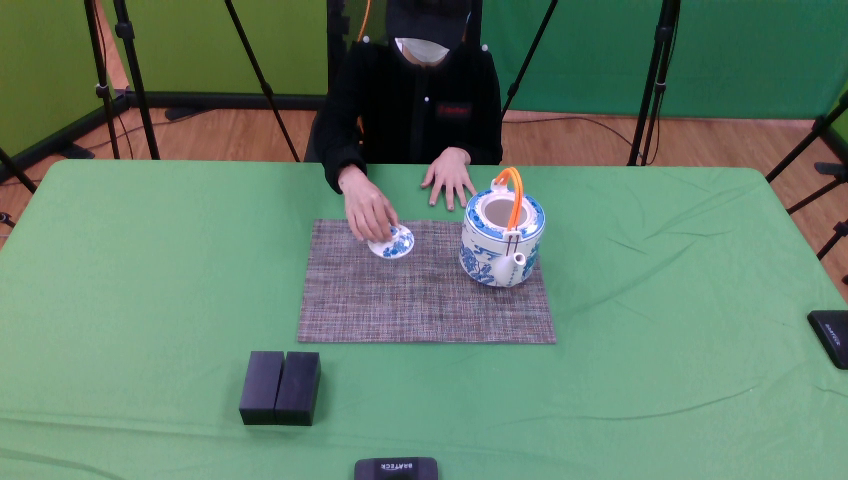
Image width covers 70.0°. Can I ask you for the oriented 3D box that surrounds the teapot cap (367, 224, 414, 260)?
[{"bbox_3d":[-0.061,-0.001,1.097,0.085,0.044,0.084,4,50,-5],"label":"teapot cap"}]

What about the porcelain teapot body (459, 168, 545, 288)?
[{"bbox_3d":[0.146,-0.006,1.070,0.145,0.226,0.204,-4,46,-8],"label":"porcelain teapot body"}]
